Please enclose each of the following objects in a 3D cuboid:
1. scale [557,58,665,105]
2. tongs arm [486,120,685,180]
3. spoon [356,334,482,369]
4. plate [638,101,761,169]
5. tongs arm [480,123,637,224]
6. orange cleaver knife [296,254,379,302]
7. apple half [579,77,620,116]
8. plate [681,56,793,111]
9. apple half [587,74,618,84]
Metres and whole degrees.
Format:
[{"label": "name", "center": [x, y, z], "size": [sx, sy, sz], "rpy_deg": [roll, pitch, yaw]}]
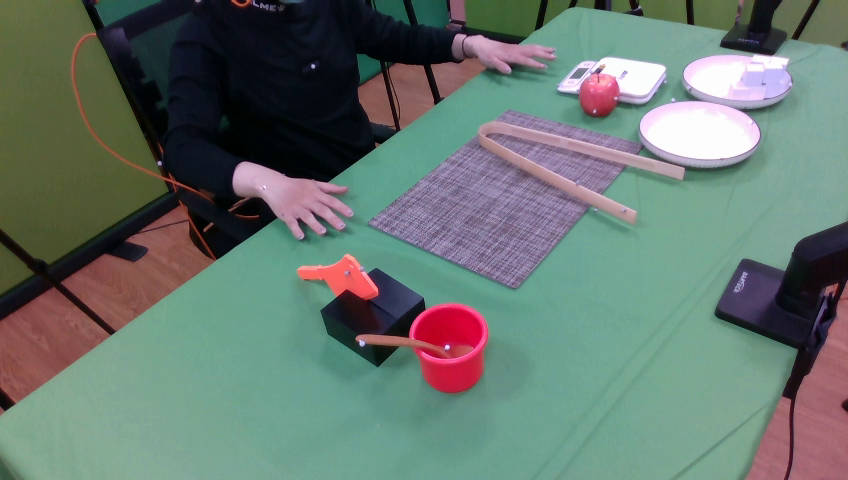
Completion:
[{"label": "scale", "center": [0.407, -0.348, 1.314], "size": [0.199, 0.032, 0.149], "rpy_deg": [19, 47, 28]}, {"label": "tongs arm", "center": [0.288, -0.171, 1.123], "size": [0.384, 0.028, 0.028], "rpy_deg": [21, 52, 29]}, {"label": "spoon", "center": [-0.001, 0.130, 0.731], "size": [0.195, 0.021, 0.041], "rpy_deg": [21, 27, -39]}, {"label": "plate", "center": [0.500, -0.189, 1.111], "size": [0.209, 0.038, 0.208], "rpy_deg": [-4, 41, 4]}, {"label": "tongs arm", "center": [0.228, -0.128, 1.080], "size": [0.051, 0.026, 0.381], "rpy_deg": [-33, 46, -26]}, {"label": "orange cleaver knife", "center": [-0.129, 0.059, 0.874], "size": [0.012, 0.077, 0.210], "rpy_deg": [-39, 16, -30]}, {"label": "apple half", "center": [0.348, -0.285, 1.218], "size": [0.080, 0.075, 0.053], "rpy_deg": [17, 49, 22]}, {"label": "plate", "center": [0.636, -0.317, 1.239], "size": [0.207, 0.039, 0.206], "rpy_deg": [-4, 40, 4]}, {"label": "apple half", "center": [0.366, -0.310, 1.243], "size": [0.081, 0.081, 0.033], "rpy_deg": [15, 49, 24]}]
